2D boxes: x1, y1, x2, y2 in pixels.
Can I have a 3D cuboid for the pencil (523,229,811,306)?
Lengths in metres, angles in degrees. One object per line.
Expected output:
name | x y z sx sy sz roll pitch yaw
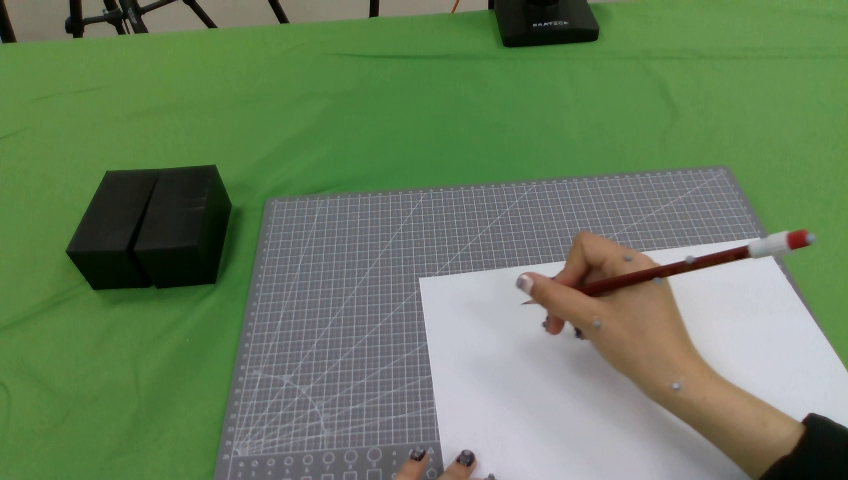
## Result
pencil | 0.135 0.024 0.379 0.193 0.012 0.012 -22 29 46
